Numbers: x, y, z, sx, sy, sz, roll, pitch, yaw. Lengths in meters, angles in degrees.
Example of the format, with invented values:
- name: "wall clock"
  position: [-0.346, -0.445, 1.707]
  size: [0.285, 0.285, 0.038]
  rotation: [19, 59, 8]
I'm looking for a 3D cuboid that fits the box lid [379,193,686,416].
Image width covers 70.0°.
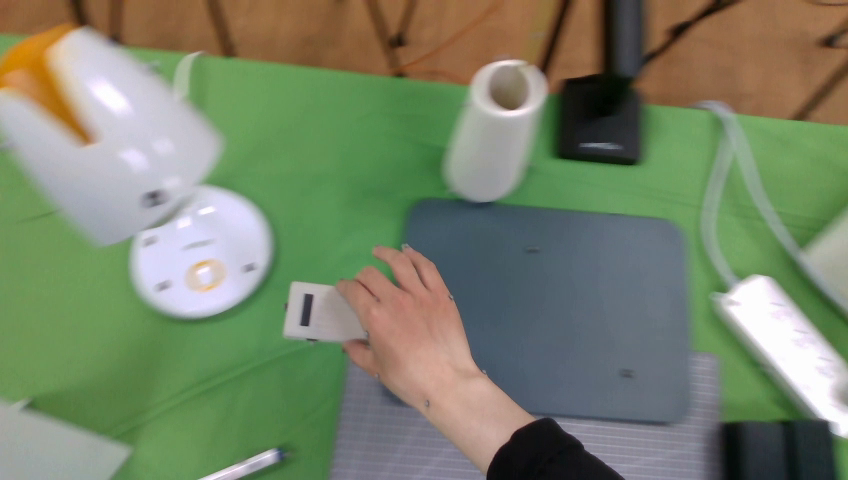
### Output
- name: "box lid"
  position: [0.138, 0.074, 0.752]
  size: [0.372, 0.015, 0.261]
  rotation: [4, 70, -2]

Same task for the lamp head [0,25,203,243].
- name: "lamp head"
  position: [-0.229, -0.078, 0.399]
  size: [0.112, 0.124, 0.111]
  rotation: [-23, 37, 19]

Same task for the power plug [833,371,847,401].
- name: "power plug"
  position: [0.513, 0.163, 0.710]
  size: [0.072, 0.053, 0.035]
  rotation: [-23, 72, -16]

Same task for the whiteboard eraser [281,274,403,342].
- name: "whiteboard eraser"
  position: [-0.079, 0.066, 0.586]
  size: [0.113, 0.042, 0.055]
  rotation: [7, 77, -7]

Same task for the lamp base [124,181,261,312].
- name: "lamp base"
  position: [-0.283, -0.026, 0.669]
  size: [0.161, 0.181, 0.178]
  rotation: [-24, 71, -12]

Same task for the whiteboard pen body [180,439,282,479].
- name: "whiteboard pen body"
  position: [-0.224, 0.252, 0.662]
  size: [0.141, 0.017, 0.017]
  rotation: [-21, 73, -9]

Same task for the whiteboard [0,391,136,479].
- name: "whiteboard"
  position: [-0.466, 0.207, 0.541]
  size: [0.142, 0.308, 0.216]
  rotation: [27, 70, 27]

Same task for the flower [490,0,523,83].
- name: "flower"
  position: [0.076, -0.170, 0.648]
  size: [0.044, 0.364, 0.038]
  rotation: [40, 57, 17]

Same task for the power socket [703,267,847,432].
- name: "power socket"
  position: [0.444, 0.131, 0.741]
  size: [0.072, 0.033, 0.225]
  rotation: [-34, 76, -15]

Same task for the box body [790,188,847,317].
- name: "box body"
  position: [0.669, 0.049, 0.716]
  size: [0.254, 0.161, 0.362]
  rotation: [-38, 77, -15]

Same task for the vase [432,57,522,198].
- name: "vase"
  position: [0.065, -0.128, 0.719]
  size: [0.098, 0.201, 0.097]
  rotation: [2, 69, -4]
